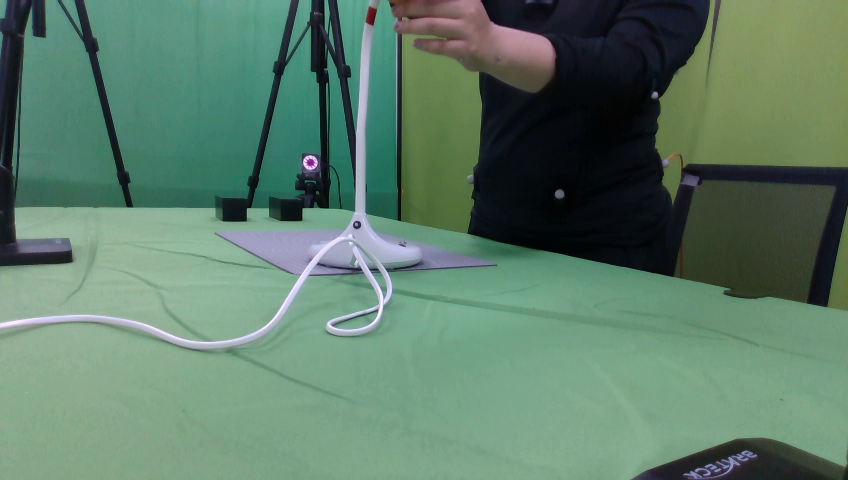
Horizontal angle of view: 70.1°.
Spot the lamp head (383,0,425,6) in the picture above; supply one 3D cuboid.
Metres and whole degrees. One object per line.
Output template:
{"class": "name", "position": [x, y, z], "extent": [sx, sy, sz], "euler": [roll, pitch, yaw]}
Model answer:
{"class": "lamp head", "position": [-0.025, -0.326, 0.671], "extent": [0.112, 0.123, 0.112], "euler": [4, 3, 0]}

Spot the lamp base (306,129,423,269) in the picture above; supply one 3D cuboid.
{"class": "lamp base", "position": [-0.078, -0.057, 0.810], "extent": [0.161, 0.180, 0.179], "euler": [1, 10, -4]}
